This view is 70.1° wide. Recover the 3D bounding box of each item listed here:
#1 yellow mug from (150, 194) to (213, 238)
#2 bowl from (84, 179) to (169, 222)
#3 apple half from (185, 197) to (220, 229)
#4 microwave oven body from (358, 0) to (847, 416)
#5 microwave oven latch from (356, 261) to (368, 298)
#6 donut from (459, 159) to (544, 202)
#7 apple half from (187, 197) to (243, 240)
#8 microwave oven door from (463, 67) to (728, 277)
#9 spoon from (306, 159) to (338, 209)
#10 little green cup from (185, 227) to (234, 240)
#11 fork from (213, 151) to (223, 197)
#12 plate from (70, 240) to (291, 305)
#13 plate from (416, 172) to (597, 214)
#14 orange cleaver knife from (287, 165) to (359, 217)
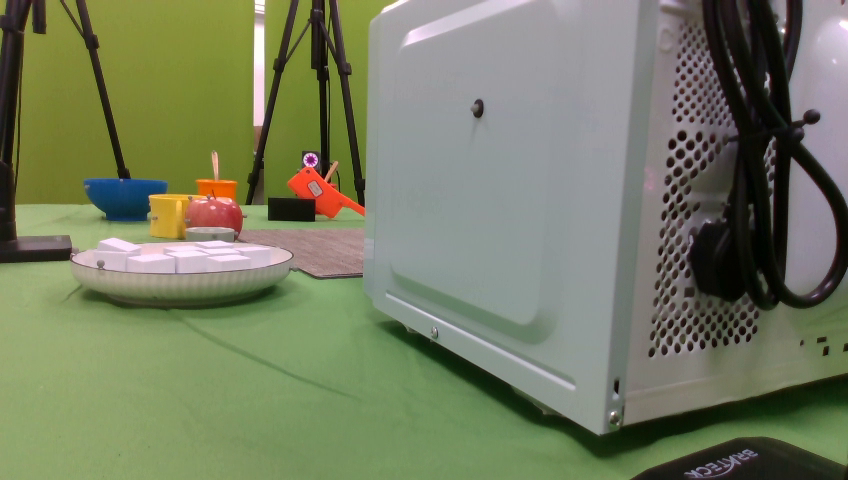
[{"bbox_3d":[-0.401,-0.040,1.003,0.100,0.064,0.130,-1,9,-20],"label":"yellow mug"},{"bbox_3d":[-0.584,-0.078,1.194,0.151,0.077,0.151,3,8,0],"label":"bowl"},{"bbox_3d":[-0.338,-0.031,0.927,0.032,0.081,0.081,12,12,31],"label":"apple half"},{"bbox_3d":[0.210,-0.047,0.475,0.444,0.260,0.324,-1,7,-28],"label":"microwave oven body"},{"bbox_3d":[-0.020,0.033,0.530,0.079,0.029,0.030,0,7,-26],"label":"microwave oven latch"},{"bbox_3d":[0.089,-0.067,0.702,0.099,0.048,0.099,5,4,0],"label":"donut"},{"bbox_3d":[-0.305,-0.026,0.907,0.053,0.074,0.081,12,8,31],"label":"apple half"},{"bbox_3d":[0.205,-0.096,0.812,0.354,0.243,0.039,9,11,41],"label":"microwave oven door"},{"bbox_3d":[-0.257,-0.147,1.567,0.041,0.022,0.193,2,50,20],"label":"spoon"},{"bbox_3d":[-0.285,0.005,0.805,0.061,0.038,0.061,2,8,0],"label":"little green cup"},{"bbox_3d":[-0.493,-0.143,1.442,0.028,0.018,0.206,-3,52,-18],"label":"fork"},{"bbox_3d":[-0.242,0.031,0.618,0.208,0.039,0.207,2,8,0],"label":"plate"},{"bbox_3d":[0.093,-0.056,0.704,0.209,0.038,0.209,4,6,0],"label":"plate"},{"bbox_3d":[-0.211,-0.092,1.382,0.212,0.077,0.012,33,1,-15],"label":"orange cleaver knife"}]
